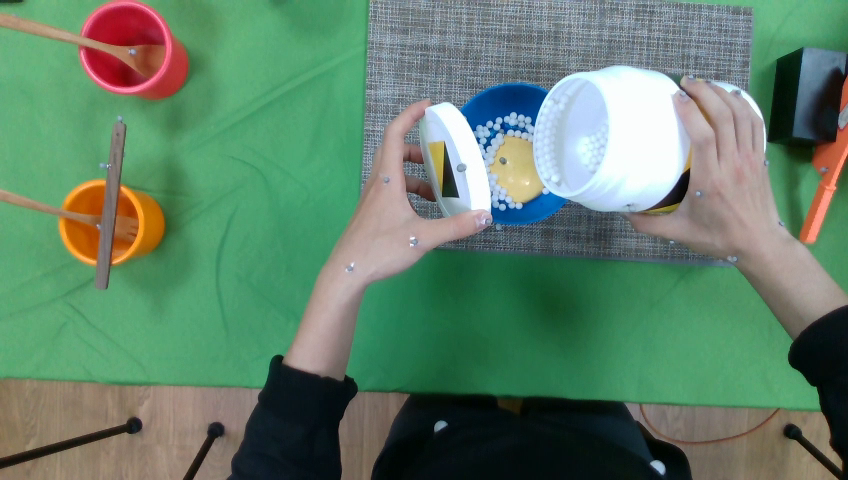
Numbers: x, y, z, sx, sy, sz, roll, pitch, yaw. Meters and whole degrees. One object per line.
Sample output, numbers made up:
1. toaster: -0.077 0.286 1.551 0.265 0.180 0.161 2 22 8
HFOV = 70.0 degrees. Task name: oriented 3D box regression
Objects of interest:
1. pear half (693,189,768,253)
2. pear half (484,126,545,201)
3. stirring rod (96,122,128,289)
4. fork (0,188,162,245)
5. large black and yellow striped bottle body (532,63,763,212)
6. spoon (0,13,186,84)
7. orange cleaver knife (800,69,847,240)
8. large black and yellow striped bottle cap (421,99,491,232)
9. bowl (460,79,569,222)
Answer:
1. pear half: 0.335 -0.021 0.666 0.056 0.110 0.076 -16 88 1
2. pear half: 0.099 -0.088 0.667 0.070 0.031 0.088 -24 87 0
3. stirring rod: -0.327 -0.036 0.634 0.014 0.006 0.176 8 93 -3
4. fork: -0.380 -0.031 0.635 0.209 0.018 0.028 21 102 -45
5. large black and yellow striped bottle body: 0.208 -0.093 0.573 0.185 0.130 0.131 0 92 -27
6. spoon: -0.349 -0.205 0.632 0.195 0.021 0.041 7 95 -45
7. orange cleaver knife: 0.460 -0.102 0.682 0.012 0.076 0.213 5 121 4
8. large black and yellow striped bottle cap: 0.025 -0.062 0.522 0.019 0.114 0.115 -18 92 -13
9. bowl: 0.095 -0.094 0.674 0.151 0.077 0.151 0 92 -1
